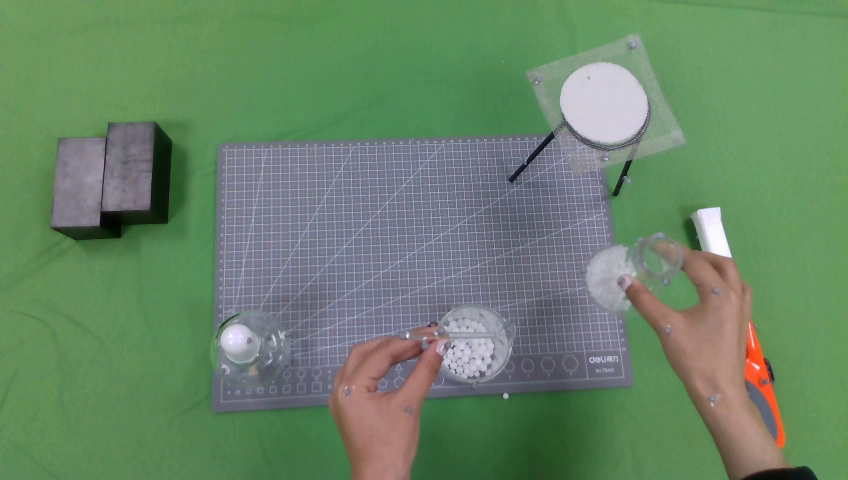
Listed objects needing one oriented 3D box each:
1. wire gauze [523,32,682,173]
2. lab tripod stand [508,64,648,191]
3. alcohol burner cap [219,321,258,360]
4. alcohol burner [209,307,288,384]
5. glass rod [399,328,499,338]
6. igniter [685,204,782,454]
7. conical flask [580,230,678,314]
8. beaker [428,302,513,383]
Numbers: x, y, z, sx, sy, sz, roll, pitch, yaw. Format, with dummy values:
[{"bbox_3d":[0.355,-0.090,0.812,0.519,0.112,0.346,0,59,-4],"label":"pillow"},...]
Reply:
[{"bbox_3d":[0.176,-0.135,0.594,0.125,0.011,0.121,-18,80,-8],"label":"wire gauze"},{"bbox_3d":[0.170,-0.115,0.658,0.148,0.132,0.147,1,78,-4],"label":"lab tripod stand"},{"bbox_3d":[-0.173,0.090,0.560,0.034,0.048,0.033,3,68,-8],"label":"alcohol burner cap"},{"bbox_3d":[-0.175,0.101,0.594,0.078,0.119,0.077,1,75,-4],"label":"alcohol burner"},{"bbox_3d":[0.029,0.080,0.520,0.008,0.201,0.008,-4,81,26],"label":"glass rod"},{"bbox_3d":[0.343,0.094,0.674,0.057,0.025,0.275,-7,77,-16],"label":"igniter"},{"bbox_3d":[0.193,0.024,0.557,0.075,0.122,0.075,0,77,1],"label":"conical flask"},{"bbox_3d":[0.043,0.105,0.614,0.084,0.100,0.073,-21,79,-8],"label":"beaker"}]
